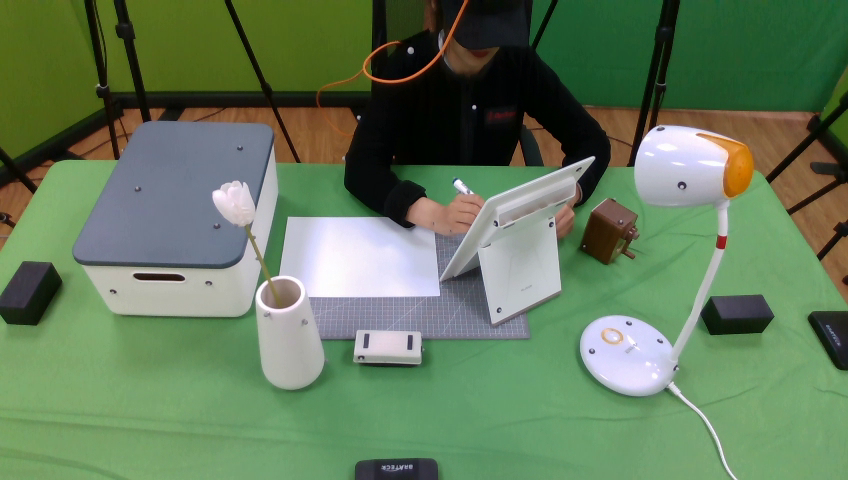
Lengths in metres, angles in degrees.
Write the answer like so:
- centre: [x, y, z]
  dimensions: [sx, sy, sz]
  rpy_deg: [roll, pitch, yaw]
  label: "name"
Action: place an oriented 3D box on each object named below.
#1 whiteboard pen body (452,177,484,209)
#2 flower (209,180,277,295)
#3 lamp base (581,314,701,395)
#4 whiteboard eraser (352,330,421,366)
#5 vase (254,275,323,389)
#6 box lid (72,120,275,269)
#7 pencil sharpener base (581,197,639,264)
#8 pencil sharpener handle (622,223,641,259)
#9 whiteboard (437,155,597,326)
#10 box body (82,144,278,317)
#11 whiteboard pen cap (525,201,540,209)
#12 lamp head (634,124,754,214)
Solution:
- centre: [0.100, -0.066, 1.097]
  dimensions: [0.017, 0.017, 0.140]
  rpy_deg: [-30, 64, -28]
  label: "whiteboard pen body"
- centre: [-0.217, 0.075, 0.871]
  dimensions: [0.044, 0.363, 0.038]
  rpy_deg: [-29, 36, -19]
  label: "flower"
- centre: [0.361, 0.145, 0.973]
  dimensions: [0.178, 0.181, 0.160]
  rpy_deg: [34, 53, 23]
  label: "lamp base"
- centre: [-0.060, 0.180, 1.005]
  dimensions: [0.113, 0.042, 0.055]
  rpy_deg: [3, 48, -2]
  label: "whiteboard eraser"
- centre: [-0.209, 0.143, 0.921]
  dimensions: [0.098, 0.201, 0.097]
  rpy_deg: [1, 46, -1]
  label: "vase"
- centre: [-0.417, -0.094, 1.056]
  dimensions: [0.263, 0.015, 0.369]
  rpy_deg: [1, 47, -3]
  label: "box lid"
- centre: [0.362, -0.017, 1.179]
  dimensions: [0.076, 0.107, 0.061]
  rpy_deg: [37, 54, 27]
  label: "pencil sharpener base"
- centre: [0.397, 0.003, 1.146]
  dimensions: [0.030, 0.068, 0.036]
  rpy_deg: [37, 45, 27]
  label: "pencil sharpener handle"
- centre: [0.180, 0.024, 1.029]
  dimensions: [0.217, 0.306, 0.143]
  rpy_deg: [-22, 70, -23]
  label: "whiteboard"
- centre: [-0.421, -0.041, 1.108]
  dimensions: [0.254, 0.161, 0.361]
  rpy_deg: [2, 46, -3]
  label: "box body"
- centre: [0.230, -0.074, 1.289]
  dimensions: [0.033, 0.018, 0.018]
  rpy_deg: [5, 46, 4]
  label: "whiteboard pen cap"
- centre: [0.351, -0.089, 0.776]
  dimensions: [0.112, 0.113, 0.122]
  rpy_deg: [-30, 30, -28]
  label: "lamp head"
